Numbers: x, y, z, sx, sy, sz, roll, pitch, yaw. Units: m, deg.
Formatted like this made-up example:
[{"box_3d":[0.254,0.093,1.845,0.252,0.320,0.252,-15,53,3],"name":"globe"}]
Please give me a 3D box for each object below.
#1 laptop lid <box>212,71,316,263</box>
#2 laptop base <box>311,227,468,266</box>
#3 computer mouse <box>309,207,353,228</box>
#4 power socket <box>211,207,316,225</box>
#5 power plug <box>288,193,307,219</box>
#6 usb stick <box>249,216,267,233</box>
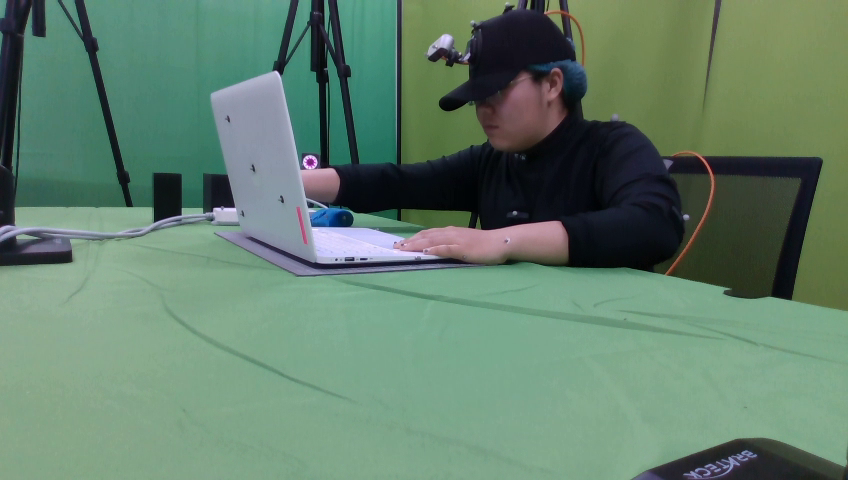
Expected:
[{"box_3d":[-0.240,-0.104,0.862,0.013,0.241,0.355,-16,17,-29],"name":"laptop lid"},{"box_3d":[-0.122,0.008,0.952,0.237,0.023,0.352,2,6,-32],"name":"laptop base"},{"box_3d":[-0.202,-0.045,1.275,0.062,0.041,0.117,8,13,23],"name":"computer mouse"},{"box_3d":[-0.334,-0.051,1.281,0.228,0.032,0.072,-1,9,-28],"name":"power socket"},{"box_3d":[-0.281,-0.076,1.340,0.035,0.052,0.072,4,6,-20],"name":"power plug"},{"box_3d":[-0.293,-0.027,1.072,0.021,0.027,0.059,1,11,-29],"name":"usb stick"}]
